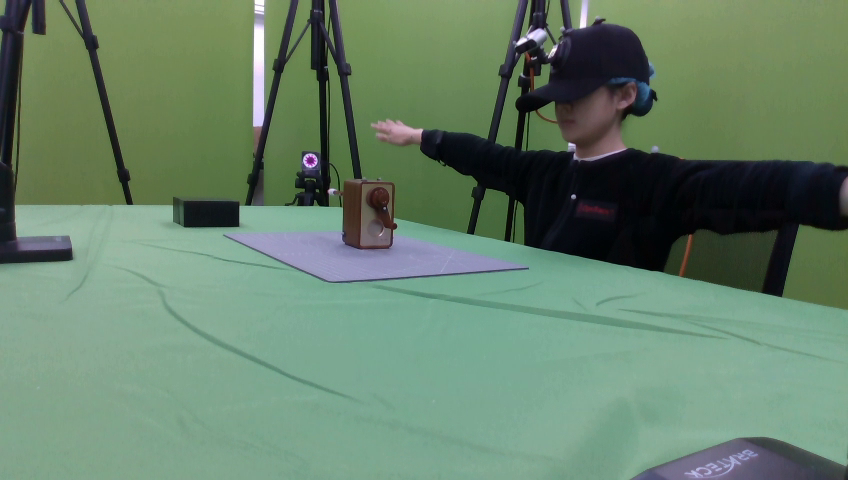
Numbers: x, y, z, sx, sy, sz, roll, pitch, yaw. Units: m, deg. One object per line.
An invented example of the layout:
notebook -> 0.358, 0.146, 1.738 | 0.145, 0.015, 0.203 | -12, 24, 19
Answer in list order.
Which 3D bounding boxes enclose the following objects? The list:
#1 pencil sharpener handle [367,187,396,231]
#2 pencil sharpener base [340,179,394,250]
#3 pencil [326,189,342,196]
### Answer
pencil sharpener handle -> -0.060, -0.047, 0.916 | 0.036, 0.068, 0.030 | -22, 19, -25
pencil sharpener base -> -0.091, -0.041, 0.959 | 0.061, 0.107, 0.076 | -1, 9, -30
pencil -> -0.129, -0.077, 1.027 | 0.012, 0.012, 0.193 | -1, 8, -29
